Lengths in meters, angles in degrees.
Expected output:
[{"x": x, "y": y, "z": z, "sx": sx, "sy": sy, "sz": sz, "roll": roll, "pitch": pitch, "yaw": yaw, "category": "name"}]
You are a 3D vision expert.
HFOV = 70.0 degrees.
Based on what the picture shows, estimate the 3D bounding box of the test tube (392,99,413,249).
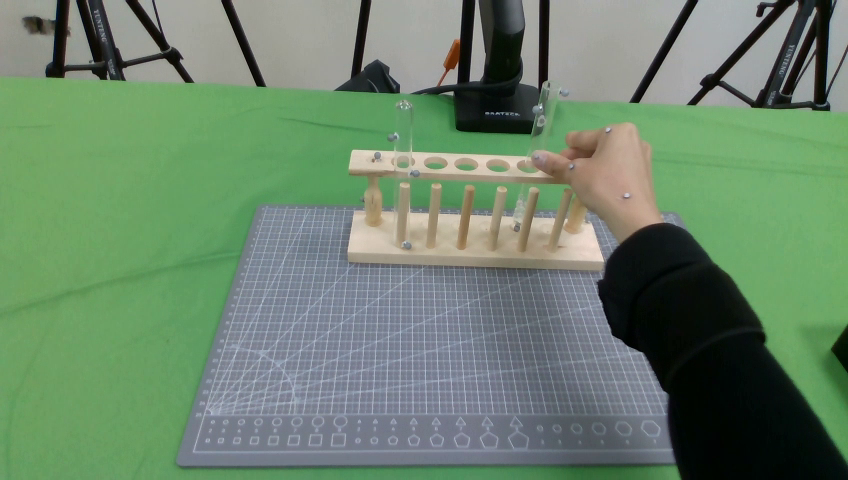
[{"x": -0.020, "y": -0.053, "z": 0.528, "sx": 0.017, "sy": 0.152, "sz": 0.017, "roll": 2, "pitch": 39, "yaw": -1, "category": "test tube"}]

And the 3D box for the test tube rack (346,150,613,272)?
[{"x": 0.050, "y": -0.027, "z": 0.573, "sx": 0.242, "sy": 0.086, "sz": 0.066, "roll": 2, "pitch": 40, "yaw": -2, "category": "test tube rack"}]

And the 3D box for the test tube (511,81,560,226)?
[{"x": 0.099, "y": -0.073, "z": 0.554, "sx": 0.017, "sy": 0.151, "sz": 0.017, "roll": 4, "pitch": 40, "yaw": -3, "category": "test tube"}]
